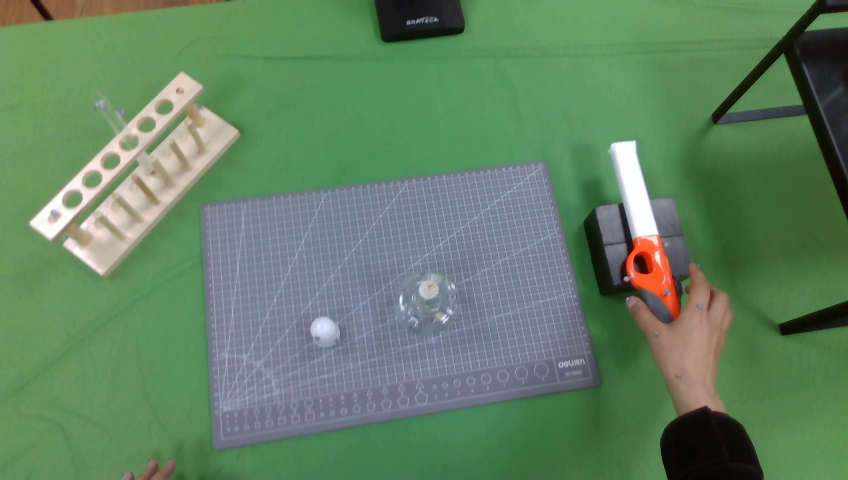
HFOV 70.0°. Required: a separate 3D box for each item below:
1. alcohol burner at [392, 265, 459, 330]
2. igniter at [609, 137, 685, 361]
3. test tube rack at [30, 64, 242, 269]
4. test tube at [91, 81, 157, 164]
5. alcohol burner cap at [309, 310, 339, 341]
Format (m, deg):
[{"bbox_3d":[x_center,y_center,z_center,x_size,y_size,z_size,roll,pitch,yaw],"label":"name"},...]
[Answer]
[{"bbox_3d":[0.003,0.060,0.683,0.078,0.119,0.077,2,70,-4],"label":"alcohol burner"},{"bbox_3d":[0.262,0.004,0.716,0.057,0.025,0.274,-5,71,-3],"label":"igniter"},{"bbox_3d":[-0.334,-0.088,0.726,0.066,0.085,0.242,35,74,9],"label":"test tube rack"},{"bbox_3d":[-0.336,-0.128,0.688,0.017,0.151,0.017,1,67,-2],"label":"test tube"},{"bbox_3d":[-0.117,0.098,0.702,0.034,0.048,0.033,0,72,-1],"label":"alcohol burner cap"}]
